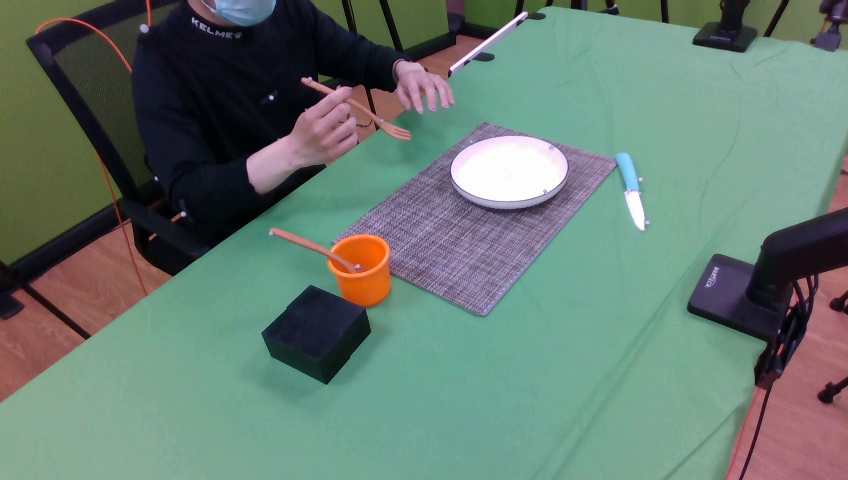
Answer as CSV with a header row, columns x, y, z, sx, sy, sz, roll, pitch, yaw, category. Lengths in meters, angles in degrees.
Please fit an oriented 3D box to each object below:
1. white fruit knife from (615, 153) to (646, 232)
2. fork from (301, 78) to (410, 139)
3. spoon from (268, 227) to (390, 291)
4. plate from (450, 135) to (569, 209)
x,y,z,sx,sy,sz,roll,pitch,yaw,category
0.352,-0.084,1.023,0.027,0.016,0.206,-19,40,23,white fruit knife
-0.105,-0.209,0.970,0.018,0.209,0.028,-35,46,34,fork
-0.132,0.025,0.862,0.021,0.195,0.041,-40,31,32,spoon
0.149,-0.117,1.066,0.209,0.038,0.208,-4,41,4,plate
